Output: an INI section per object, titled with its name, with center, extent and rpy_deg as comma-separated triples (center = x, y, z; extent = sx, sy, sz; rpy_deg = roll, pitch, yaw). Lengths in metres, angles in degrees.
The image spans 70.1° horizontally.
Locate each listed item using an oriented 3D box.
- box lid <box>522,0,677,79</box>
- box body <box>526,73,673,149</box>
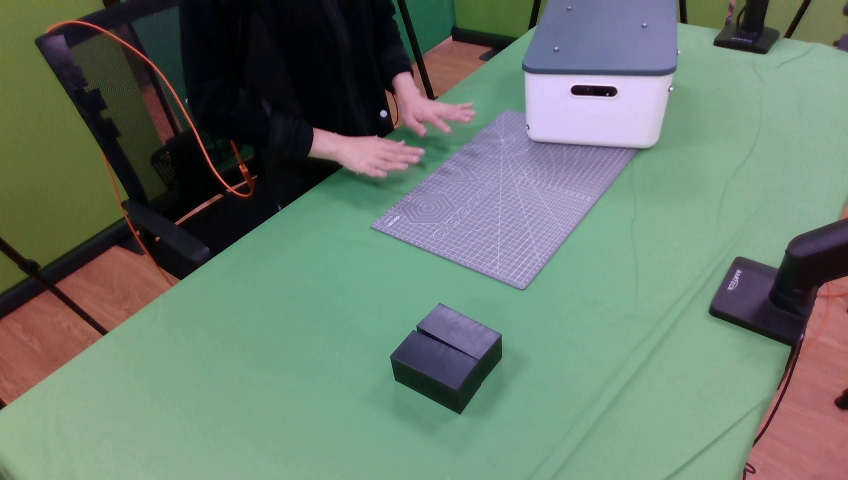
[box lid]
center = 0.346, -0.397, 1.163
extent = 0.262, 0.015, 0.371
rpy_deg = 6, 41, 17
[box body]
center = 0.356, -0.342, 1.212
extent = 0.253, 0.161, 0.363
rpy_deg = 7, 42, 17
